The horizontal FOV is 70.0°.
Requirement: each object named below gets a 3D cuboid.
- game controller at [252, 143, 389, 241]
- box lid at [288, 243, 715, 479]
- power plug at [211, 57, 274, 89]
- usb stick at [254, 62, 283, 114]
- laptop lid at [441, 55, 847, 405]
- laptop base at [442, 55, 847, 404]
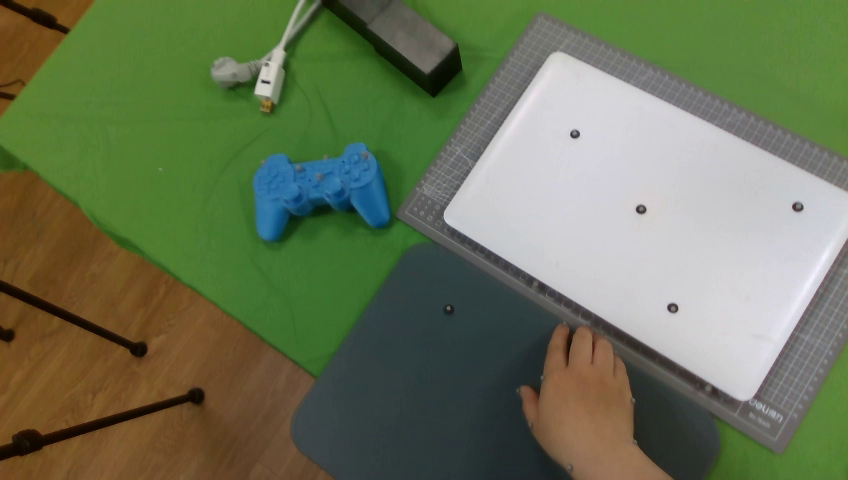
[{"bbox_3d":[-0.120,-0.057,0.684,0.155,0.052,0.096,-6,72,7],"label":"game controller"},{"bbox_3d":[0.065,0.191,0.609,0.369,0.015,0.263,32,82,15],"label":"box lid"},{"bbox_3d":[-0.229,-0.211,0.757,0.073,0.035,0.052,-23,40,-35],"label":"power plug"},{"bbox_3d":[-0.190,-0.183,0.736,0.021,0.027,0.059,11,84,4],"label":"usb stick"},{"bbox_3d":[0.220,-0.026,0.623,0.354,0.013,0.241,34,85,16],"label":"laptop lid"},{"bbox_3d":[0.223,-0.025,0.634,0.352,0.023,0.235,32,86,15],"label":"laptop base"}]
